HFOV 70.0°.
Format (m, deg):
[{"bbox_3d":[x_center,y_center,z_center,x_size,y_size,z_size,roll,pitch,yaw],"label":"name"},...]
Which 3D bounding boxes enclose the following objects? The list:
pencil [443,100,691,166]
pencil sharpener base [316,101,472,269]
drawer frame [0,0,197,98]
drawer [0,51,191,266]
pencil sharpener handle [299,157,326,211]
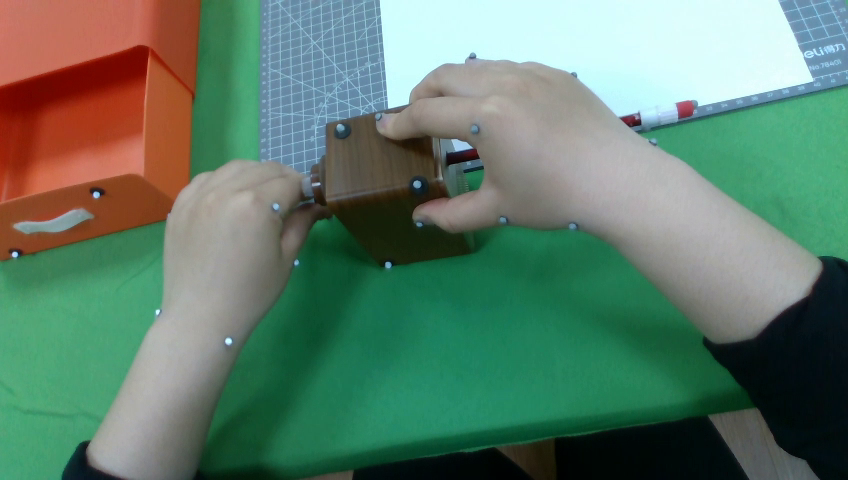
[{"bbox_3d":[0.055,-0.056,0.353,0.194,0.012,0.012,-11,65,9],"label":"pencil"},{"bbox_3d":[-0.017,-0.030,0.395,0.076,0.108,0.061,-11,65,11],"label":"pencil sharpener base"},{"bbox_3d":[-0.318,-0.205,0.564,0.201,0.083,0.211,-13,64,10],"label":"drawer frame"},{"bbox_3d":[-0.302,-0.099,0.518,0.194,0.074,0.210,-13,64,10],"label":"drawer"},{"bbox_3d":[-0.070,-0.030,0.395,0.030,0.068,0.036,-11,83,12],"label":"pencil sharpener handle"}]
